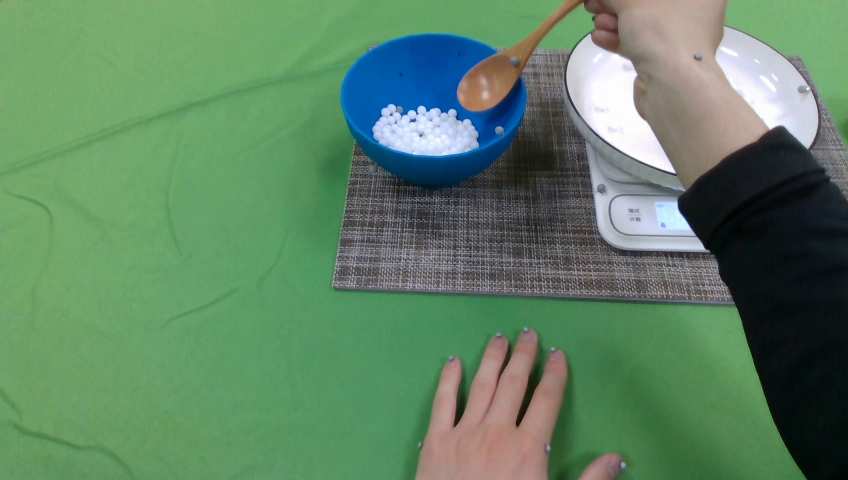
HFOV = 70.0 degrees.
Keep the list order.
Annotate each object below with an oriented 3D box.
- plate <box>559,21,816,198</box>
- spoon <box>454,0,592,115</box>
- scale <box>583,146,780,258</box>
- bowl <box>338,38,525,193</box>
[{"bbox_3d":[0.217,-0.112,0.517,0.209,0.038,0.207,1,54,-1],"label":"plate"},{"bbox_3d":[0.097,-0.161,0.462,0.022,0.194,0.041,3,58,-50],"label":"spoon"},{"bbox_3d":[0.215,-0.074,0.530,0.149,0.032,0.199,2,54,1],"label":"scale"},{"bbox_3d":[0.007,-0.094,0.516,0.151,0.077,0.150,0,54,0],"label":"bowl"}]
